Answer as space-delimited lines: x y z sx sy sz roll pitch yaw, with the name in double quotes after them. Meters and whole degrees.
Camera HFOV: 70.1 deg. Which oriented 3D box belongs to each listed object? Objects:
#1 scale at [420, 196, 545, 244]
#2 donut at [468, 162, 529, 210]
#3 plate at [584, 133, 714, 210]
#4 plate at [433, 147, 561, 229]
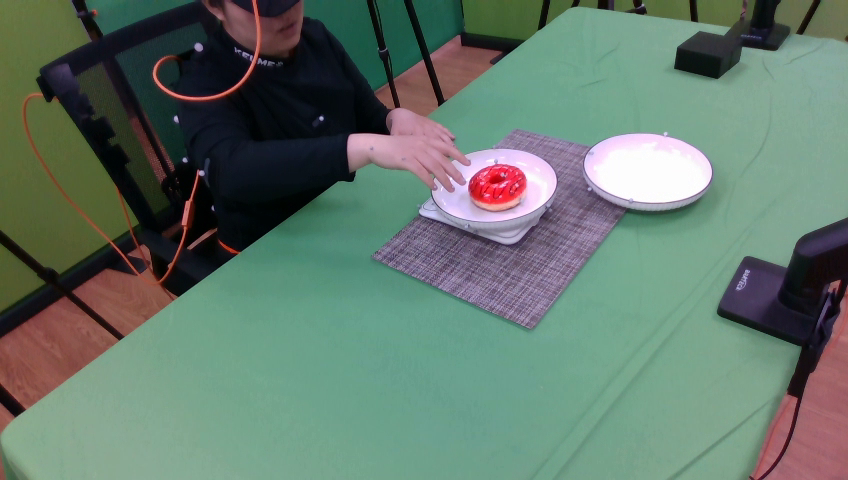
0.106 -0.065 1.029 0.199 0.032 0.149 21 48 32 "scale"
0.121 -0.088 0.985 0.099 0.048 0.098 -7 42 7 "donut"
0.379 -0.113 1.030 0.209 0.038 0.208 -4 41 4 "plate"
0.120 -0.082 0.996 0.207 0.039 0.206 -6 40 5 "plate"
